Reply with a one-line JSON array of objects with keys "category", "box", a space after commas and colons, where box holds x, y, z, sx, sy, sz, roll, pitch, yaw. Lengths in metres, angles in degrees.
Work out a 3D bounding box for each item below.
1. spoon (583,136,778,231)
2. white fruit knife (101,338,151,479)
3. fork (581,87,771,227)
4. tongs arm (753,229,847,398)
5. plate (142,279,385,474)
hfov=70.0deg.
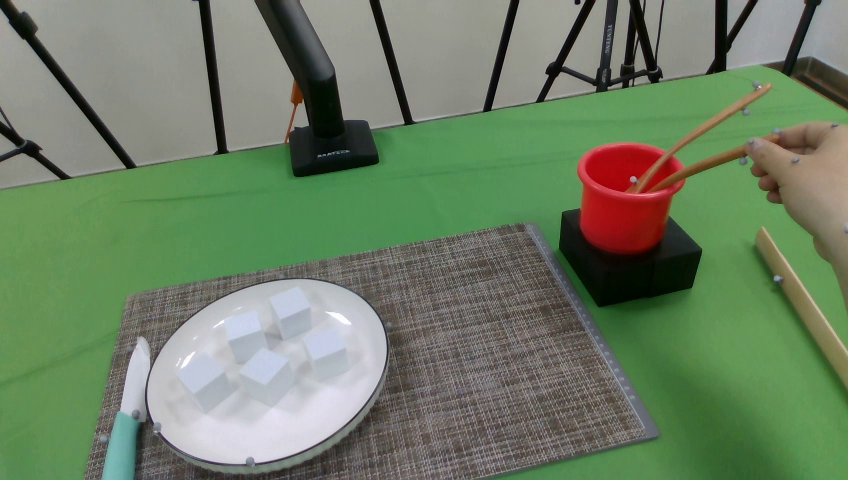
[{"category": "spoon", "box": [0.220, -0.047, 0.544, 0.041, 0.194, 0.021, -35, 90, -40]}, {"category": "white fruit knife", "box": [-0.254, 0.157, 0.521, 0.027, 0.016, 0.205, 13, 30, -26]}, {"category": "fork", "box": [0.238, -0.077, 0.580, 0.207, 0.019, 0.028, -42, 13, 17]}, {"category": "tongs arm", "box": [0.367, 0.116, 0.509, 0.028, 0.028, 0.383, -2, 39, 0]}, {"category": "plate", "box": [-0.137, 0.117, 0.539, 0.207, 0.039, 0.205, -2, 39, 2]}]
